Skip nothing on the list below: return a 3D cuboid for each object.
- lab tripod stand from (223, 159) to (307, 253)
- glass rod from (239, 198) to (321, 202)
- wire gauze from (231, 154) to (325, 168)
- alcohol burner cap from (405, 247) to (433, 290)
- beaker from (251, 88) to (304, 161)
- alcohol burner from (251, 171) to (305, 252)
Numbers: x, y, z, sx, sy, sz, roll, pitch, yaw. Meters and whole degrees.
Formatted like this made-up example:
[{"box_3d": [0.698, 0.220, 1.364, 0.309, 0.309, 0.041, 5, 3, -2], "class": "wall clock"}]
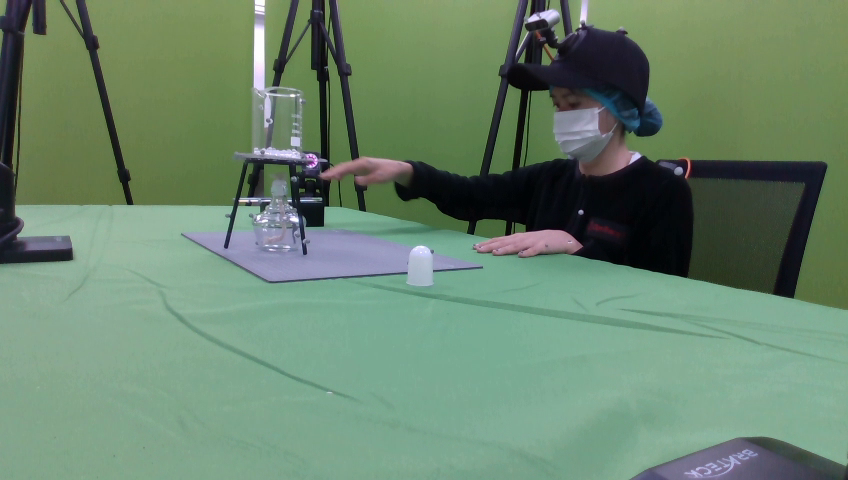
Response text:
[{"box_3d": [-0.220, -0.053, 0.896, 0.148, 0.131, 0.148, 1, 6, 0], "class": "lab tripod stand"}, {"box_3d": [-0.293, -0.081, 1.233, 0.008, 0.008, 0.201, 10, 9, 44], "class": "glass rod"}, {"box_3d": [-0.215, -0.117, 0.882, 0.125, 0.011, 0.121, 3, 7, -19], "class": "wire gauze"}, {"box_3d": [-0.005, 0.031, 0.698, 0.034, 0.048, 0.034, 3, 8, 0], "class": "alcohol burner cap"}, {"box_3d": [-0.214, -0.165, 0.874, 0.074, 0.100, 0.084, 4, 6, 15], "class": "beaker"}, {"box_3d": [-0.214, -0.042, 0.888, 0.078, 0.119, 0.078, 2, 9, 0], "class": "alcohol burner"}]
